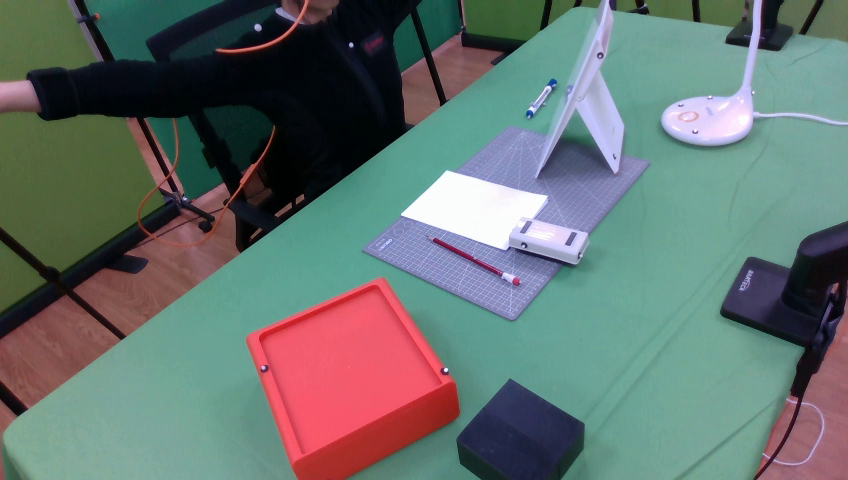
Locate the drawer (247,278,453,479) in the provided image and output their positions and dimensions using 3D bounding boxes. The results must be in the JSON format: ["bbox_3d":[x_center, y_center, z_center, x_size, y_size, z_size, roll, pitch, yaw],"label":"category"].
[{"bbox_3d":[-0.096,0.167,0.758,0.195,0.073,0.210,-22,43,-16],"label":"drawer"}]

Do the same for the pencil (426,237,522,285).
[{"bbox_3d":[0.072,0.028,0.941,0.192,0.012,0.012,26,52,37],"label":"pencil"}]

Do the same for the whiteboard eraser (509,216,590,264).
[{"bbox_3d":[0.191,0.002,0.924,0.112,0.042,0.056,16,45,26],"label":"whiteboard eraser"}]

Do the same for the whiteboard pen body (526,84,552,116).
[{"bbox_3d":[0.251,-0.305,1.297,0.017,0.017,0.141,15,45,26],"label":"whiteboard pen body"}]

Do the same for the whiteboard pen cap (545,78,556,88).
[{"bbox_3d":[0.279,-0.344,1.335,0.018,0.018,0.033,15,45,25],"label":"whiteboard pen cap"}]

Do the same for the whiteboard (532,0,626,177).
[{"bbox_3d":[0.321,-0.258,1.050,0.144,0.306,0.217,21,45,5],"label":"whiteboard"}]

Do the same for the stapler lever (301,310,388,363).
[{"bbox_3d":[-0.105,0.126,0.799,0.118,0.040,0.026,-17,41,-15],"label":"stapler lever"}]

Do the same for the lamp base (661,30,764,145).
[{"bbox_3d":[0.535,-0.287,1.096,0.179,0.181,0.159,-10,40,-4],"label":"lamp base"}]

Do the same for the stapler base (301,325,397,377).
[{"bbox_3d":[-0.102,0.143,0.815,0.131,0.024,0.041,-19,42,-13],"label":"stapler base"}]

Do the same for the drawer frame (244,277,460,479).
[{"bbox_3d":[-0.093,0.167,0.755,0.202,0.083,0.211,-23,43,-17],"label":"drawer frame"}]
